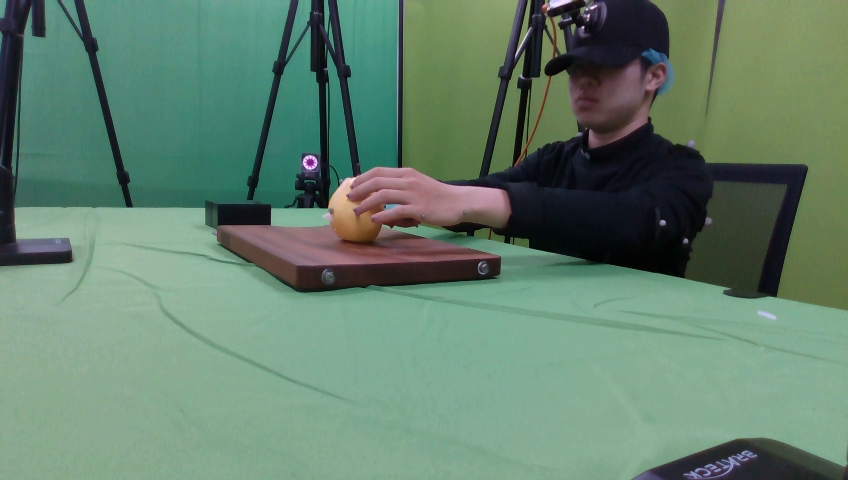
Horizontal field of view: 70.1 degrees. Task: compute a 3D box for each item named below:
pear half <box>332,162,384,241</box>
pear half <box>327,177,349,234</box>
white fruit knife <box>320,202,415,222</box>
[{"bbox_3d":[-0.085,-0.053,0.840,0.055,0.110,0.077,6,12,31],"label":"pear half"},{"bbox_3d":[-0.116,-0.046,0.864,0.031,0.088,0.071,2,8,31],"label":"pear half"},{"bbox_3d":[-0.078,-0.041,0.896,0.016,0.027,0.208,2,6,35],"label":"white fruit knife"}]
